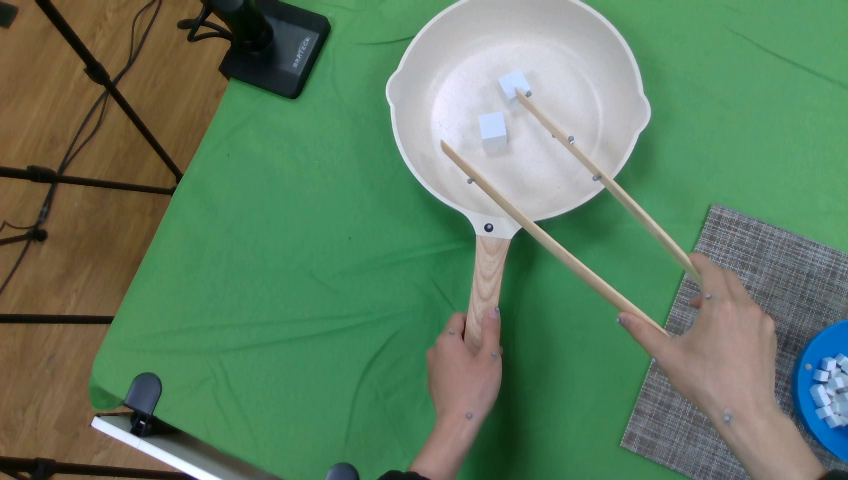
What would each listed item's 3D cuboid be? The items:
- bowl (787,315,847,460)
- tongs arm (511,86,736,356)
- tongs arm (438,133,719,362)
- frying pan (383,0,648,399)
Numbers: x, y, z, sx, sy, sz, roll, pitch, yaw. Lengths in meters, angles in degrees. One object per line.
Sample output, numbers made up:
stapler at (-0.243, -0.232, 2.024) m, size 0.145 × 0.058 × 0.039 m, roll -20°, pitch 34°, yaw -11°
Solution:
bowl at (0.445, 0.153, 0.627) m, size 0.151 × 0.077 × 0.150 m, roll -1°, pitch 79°, yaw 6°
tongs arm at (0.179, -0.043, 0.621) m, size 0.051 × 0.027 × 0.380 m, roll -32°, pitch 53°, yaw -5°
tongs arm at (0.129, -0.010, 0.617) m, size 0.028 × 0.028 × 0.383 m, roll -35°, pitch 53°, yaw -12°
frying pan at (0.085, -0.063, 0.699) m, size 0.306 × 0.103 × 0.485 m, roll 9°, pitch 72°, yaw 9°
